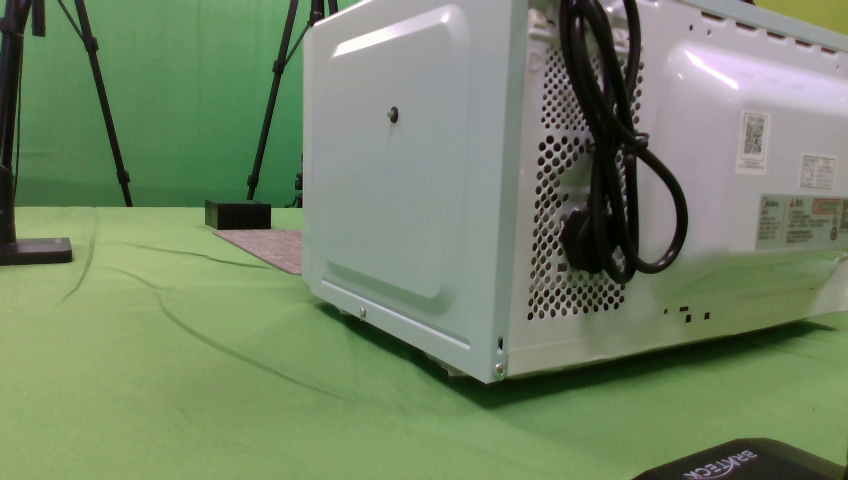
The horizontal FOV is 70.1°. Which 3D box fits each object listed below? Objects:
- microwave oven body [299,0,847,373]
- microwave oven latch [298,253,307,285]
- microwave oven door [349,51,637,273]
[{"bbox_3d":[0.151,-0.055,0.543,0.444,0.260,0.324,-2,7,-33],"label":"microwave oven body"},{"bbox_3d":[-0.081,0.027,0.582,0.079,0.029,0.030,-1,7,-31],"label":"microwave oven latch"},{"bbox_3d":[0.092,-0.085,0.725,0.357,0.243,0.039,0,8,-19],"label":"microwave oven door"}]
